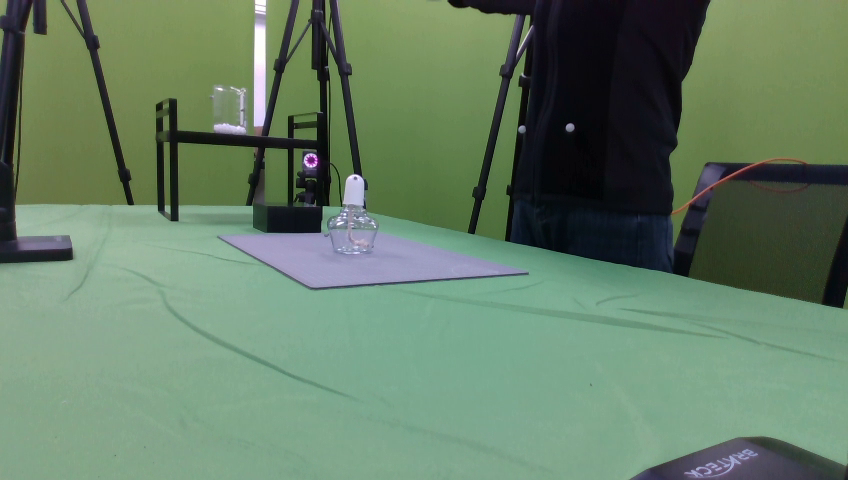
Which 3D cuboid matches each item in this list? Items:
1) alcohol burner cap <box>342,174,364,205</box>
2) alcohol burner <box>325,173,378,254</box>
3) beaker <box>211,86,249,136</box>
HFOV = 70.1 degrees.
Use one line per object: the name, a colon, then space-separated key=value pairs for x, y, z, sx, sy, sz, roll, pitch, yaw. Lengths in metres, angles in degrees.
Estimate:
alcohol burner cap: x=-0.104 y=-0.074 z=0.892 sx=0.034 sy=0.048 sz=0.034 roll=4 pitch=3 yaw=0
alcohol burner: x=-0.107 y=-0.040 z=0.896 sx=0.078 sy=0.119 sz=0.078 roll=1 pitch=5 yaw=0
beaker: x=-0.413 y=-0.274 z=1.297 sx=0.074 sy=0.100 sz=0.083 roll=-5 pitch=11 yaw=-44
